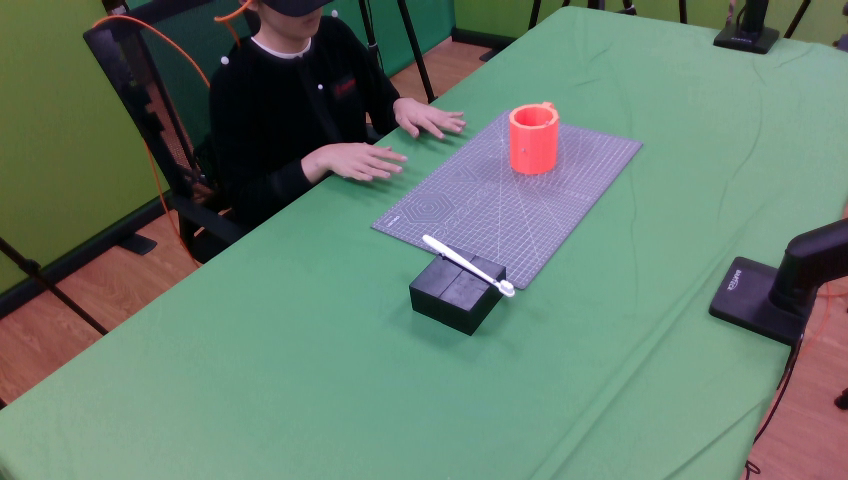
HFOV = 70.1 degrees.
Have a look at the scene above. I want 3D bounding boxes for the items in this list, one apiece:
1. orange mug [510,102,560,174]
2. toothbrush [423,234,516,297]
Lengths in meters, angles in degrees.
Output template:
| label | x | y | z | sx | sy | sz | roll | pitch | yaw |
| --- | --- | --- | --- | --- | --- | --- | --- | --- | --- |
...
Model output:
| label | x | y | z | sx | sy | sz | roll | pitch | yaw |
| --- | --- | --- | --- | --- | --- | --- | --- | --- | --- |
| orange mug | 0.210 | -0.195 | 1.108 | 0.083 | 0.101 | 0.126 | 16 | 50 | 26 |
| toothbrush | 0.060 | 0.031 | 0.859 | 0.014 | 0.017 | 0.180 | -36 | 48 | -25 |
